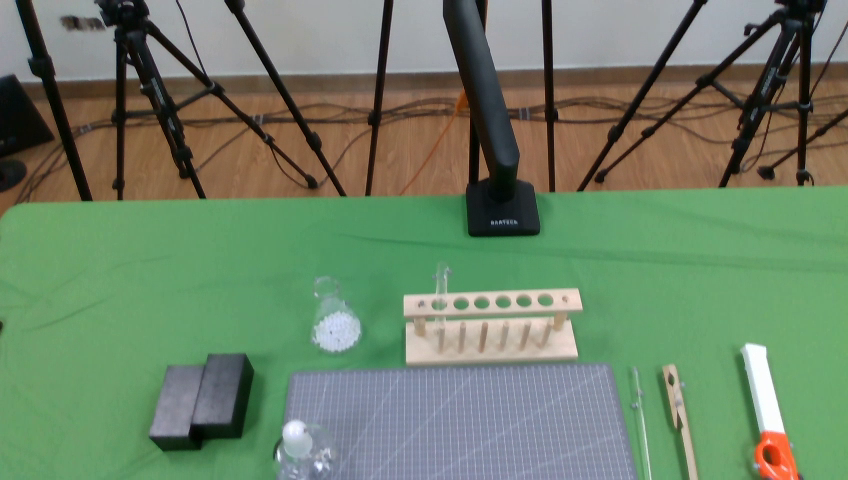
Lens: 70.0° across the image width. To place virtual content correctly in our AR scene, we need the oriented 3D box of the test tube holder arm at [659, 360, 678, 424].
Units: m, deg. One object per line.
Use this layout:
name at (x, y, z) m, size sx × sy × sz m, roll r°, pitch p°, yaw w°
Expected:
test tube holder arm at (0.333, 0.204, 0.818) m, size 0.010 × 0.015 × 0.087 m, roll -25°, pitch 45°, yaw 29°

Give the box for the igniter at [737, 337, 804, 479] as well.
igniter at (0.441, 0.249, 0.771) m, size 0.057 × 0.025 × 0.274 m, roll 11°, pitch 52°, yaw -3°

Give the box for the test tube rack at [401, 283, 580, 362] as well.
test tube rack at (0.091, 0.116, 0.848) m, size 0.242 × 0.086 × 0.066 m, roll -2°, pitch 51°, yaw -1°

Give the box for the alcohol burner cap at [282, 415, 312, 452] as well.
alcohol burner cap at (-0.149, 0.221, 0.702) m, size 0.034 × 0.048 × 0.033 m, roll 2°, pitch 48°, yaw -2°

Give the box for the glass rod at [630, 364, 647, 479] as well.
glass rod at (0.280, 0.253, 0.784) m, size 0.008 × 0.008 × 0.198 m, roll 4°, pitch 54°, yaw 4°

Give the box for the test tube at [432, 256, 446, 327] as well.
test tube at (0.020, 0.074, 0.820) m, size 0.017 × 0.151 × 0.017 m, roll 0°, pitch 49°, yaw 0°

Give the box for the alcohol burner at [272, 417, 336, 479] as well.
alcohol burner at (-0.148, 0.245, 0.729) m, size 0.078 × 0.120 × 0.077 m, roll -2°, pitch 51°, yaw 3°

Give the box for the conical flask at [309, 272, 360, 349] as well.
conical flask at (-0.132, 0.094, 0.847) m, size 0.075 × 0.123 × 0.074 m, roll 0°, pitch 51°, yaw 1°

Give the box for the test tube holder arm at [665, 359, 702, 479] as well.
test tube holder arm at (0.337, 0.237, 0.787) m, size 0.013 × 0.015 × 0.176 m, roll -26°, pitch 45°, yaw 28°
